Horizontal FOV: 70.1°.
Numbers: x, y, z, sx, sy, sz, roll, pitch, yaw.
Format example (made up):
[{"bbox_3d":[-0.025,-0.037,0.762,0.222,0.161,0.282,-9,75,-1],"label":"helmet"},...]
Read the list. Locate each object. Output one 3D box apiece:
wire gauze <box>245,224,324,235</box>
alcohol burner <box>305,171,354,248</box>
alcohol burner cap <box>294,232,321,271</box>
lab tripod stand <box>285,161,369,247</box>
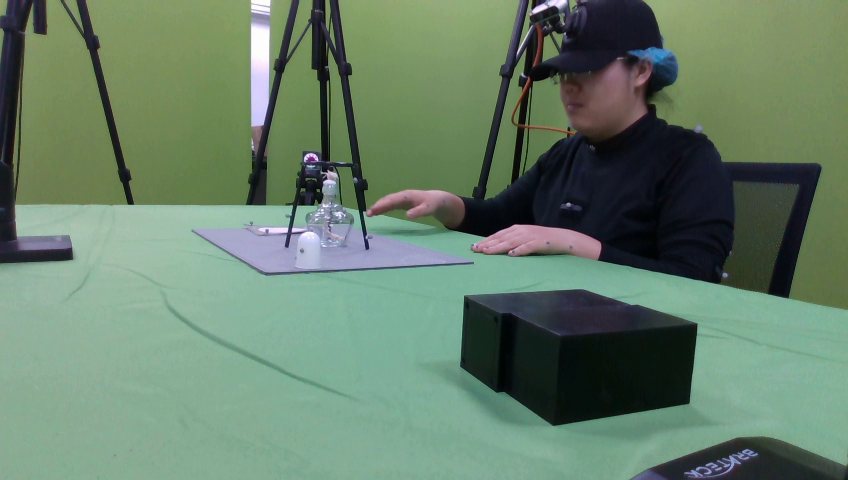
[{"bbox_3d":[-0.256,-0.020,1.108,0.122,0.011,0.124,-1,6,-28],"label":"wire gauze"},{"bbox_3d":[-0.148,-0.048,0.949,0.078,0.119,0.078,1,6,0],"label":"alcohol burner"},{"bbox_3d":[-0.144,0.013,0.748,0.034,0.048,0.034,3,6,0],"label":"alcohol burner cap"},{"bbox_3d":[-0.151,-0.058,0.947,0.148,0.131,0.148,1,6,0],"label":"lab tripod stand"}]
